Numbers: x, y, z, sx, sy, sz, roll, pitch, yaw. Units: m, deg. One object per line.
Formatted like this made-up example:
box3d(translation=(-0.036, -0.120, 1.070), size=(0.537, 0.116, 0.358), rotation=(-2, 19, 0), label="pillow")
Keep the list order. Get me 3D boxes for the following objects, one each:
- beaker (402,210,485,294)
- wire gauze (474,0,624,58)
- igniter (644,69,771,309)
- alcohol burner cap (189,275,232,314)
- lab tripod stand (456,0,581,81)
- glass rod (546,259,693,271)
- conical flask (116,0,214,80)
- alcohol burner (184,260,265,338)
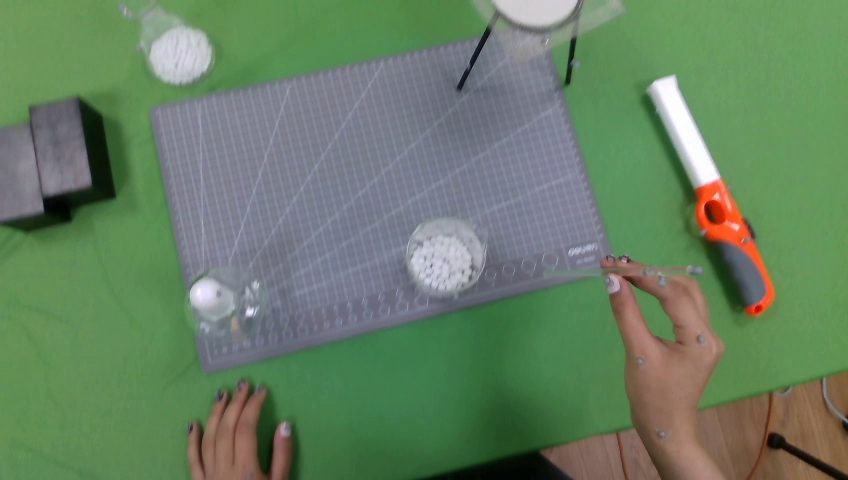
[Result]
box3d(translation=(0.019, 0.015, 0.603), size=(0.084, 0.100, 0.074), rotation=(-33, 83, -7), label="beaker")
box3d(translation=(0.104, -0.243, 0.561), size=(0.125, 0.011, 0.121), rotation=(-30, 85, -6), label="wire gauze")
box3d(translation=(0.310, -0.058, 0.663), size=(0.057, 0.025, 0.275), rotation=(-19, 83, -15), label="igniter")
box3d(translation=(-0.194, 0.047, 0.546), size=(0.034, 0.048, 0.033), rotation=(2, 72, -6), label="alcohol burner cap")
box3d(translation=(0.100, -0.228, 0.626), size=(0.148, 0.132, 0.148), rotation=(0, 82, -3), label="lab tripod stand")
box3d(translation=(0.142, 0.021, 0.477), size=(0.008, 0.199, 0.008), rotation=(1, 87, -15), label="glass rod")
box3d(translation=(-0.269, -0.221, 0.618), size=(0.075, 0.122, 0.075), rotation=(0, 81, -2), label="conical flask")
box3d(translation=(-0.195, 0.055, 0.581), size=(0.078, 0.119, 0.077), rotation=(1, 79, -3), label="alcohol burner")
